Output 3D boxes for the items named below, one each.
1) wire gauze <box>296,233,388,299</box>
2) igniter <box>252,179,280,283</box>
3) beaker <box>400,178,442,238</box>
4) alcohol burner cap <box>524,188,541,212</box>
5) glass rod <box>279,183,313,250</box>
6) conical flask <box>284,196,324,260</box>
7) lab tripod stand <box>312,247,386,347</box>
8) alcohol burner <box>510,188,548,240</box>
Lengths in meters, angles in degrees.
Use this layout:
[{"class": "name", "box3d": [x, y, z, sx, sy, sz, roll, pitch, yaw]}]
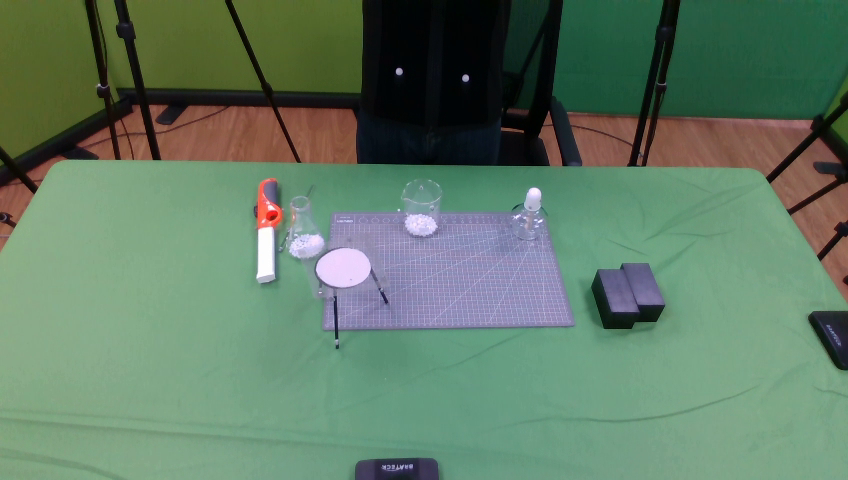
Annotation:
[{"class": "wire gauze", "box3d": [-0.133, 0.041, 0.977, 0.125, 0.011, 0.120, -12, 47, -16]}, {"class": "igniter", "box3d": [-0.312, -0.027, 1.197, 0.057, 0.025, 0.274, -12, 47, -2]}, {"class": "beaker", "box3d": [-0.009, -0.059, 1.200, 0.084, 0.101, 0.073, -14, 48, -17]}, {"class": "alcohol burner cap", "box3d": [0.212, -0.081, 1.177, 0.034, 0.048, 0.033, -2, 54, 2]}, {"class": "glass rod", "box3d": [-0.260, -0.052, 1.238, 0.008, 0.008, 0.198, 10, 47, 6]}, {"class": "conical flask", "box3d": [-0.230, -0.026, 1.137, 0.075, 0.122, 0.075, 2, 45, -2]}, {"class": "lab tripod stand", "box3d": [-0.134, 0.085, 1.028, 0.148, 0.132, 0.147, 2, 45, -1]}, {"class": "alcohol burner", "box3d": [0.211, -0.057, 1.204, 0.078, 0.120, 0.077, 1, 47, -1]}]
